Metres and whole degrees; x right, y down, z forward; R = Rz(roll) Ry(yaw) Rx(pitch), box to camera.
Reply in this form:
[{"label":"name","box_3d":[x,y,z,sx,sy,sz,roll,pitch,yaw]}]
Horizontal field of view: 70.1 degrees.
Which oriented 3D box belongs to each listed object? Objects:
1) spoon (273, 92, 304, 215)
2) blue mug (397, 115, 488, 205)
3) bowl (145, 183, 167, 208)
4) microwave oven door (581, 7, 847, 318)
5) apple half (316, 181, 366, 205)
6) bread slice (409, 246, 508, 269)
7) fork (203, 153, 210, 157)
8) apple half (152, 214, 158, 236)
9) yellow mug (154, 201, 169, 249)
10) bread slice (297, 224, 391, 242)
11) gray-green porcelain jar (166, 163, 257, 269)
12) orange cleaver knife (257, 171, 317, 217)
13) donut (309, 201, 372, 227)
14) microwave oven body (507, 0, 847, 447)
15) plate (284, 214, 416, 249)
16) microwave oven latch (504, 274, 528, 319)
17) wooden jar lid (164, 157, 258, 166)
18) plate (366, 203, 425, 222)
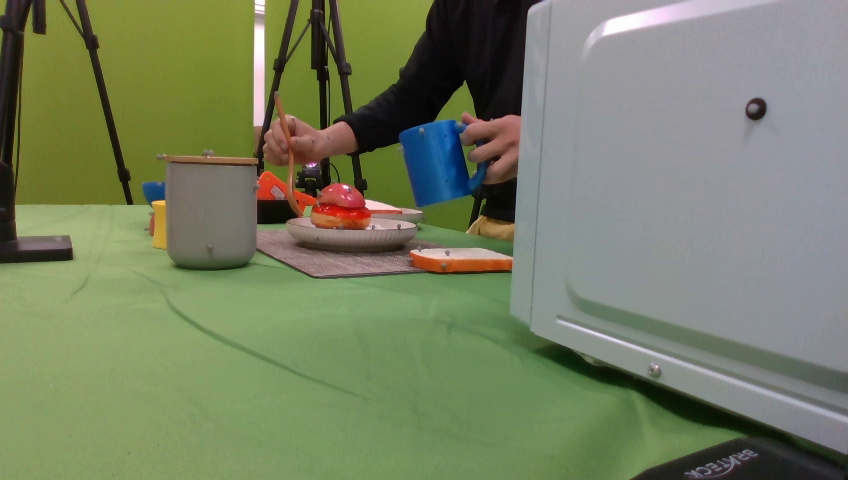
[{"label":"spoon","box_3d":[-0.211,-0.134,0.942,0.022,0.193,0.041,-8,2,-5]},{"label":"blue mug","box_3d":[0.031,-0.112,0.825,0.116,0.106,0.082,-13,4,22]},{"label":"bowl","box_3d":[-0.459,-0.069,1.175,0.151,0.077,0.151,3,7,0]},{"label":"microwave oven door","box_3d":[0.295,-0.067,0.569,0.358,0.243,0.039,-3,8,-31]},{"label":"apple half","box_3d":[-0.128,-0.077,0.954,0.081,0.033,0.081,6,14,-1]},{"label":"bread slice","box_3d":[0.048,0.021,0.816,0.132,0.019,0.104,-1,7,-24]},{"label":"fork","box_3d":[-0.480,-0.135,1.411,0.028,0.018,0.207,1,-34,-1]},{"label":"apple half","box_3d":[-0.415,-0.034,1.017,0.081,0.053,0.074,1,10,-8]},{"label":"yellow mug","box_3d":[-0.337,-0.023,0.899,0.130,0.064,0.100,7,10,34]},{"label":"bread slice","box_3d":[-0.121,-0.013,0.970,0.106,0.018,0.135,9,9,41]},{"label":"gray-green porcelain jar","box_3d":[-0.263,-0.031,0.754,0.106,0.126,0.106,2,7,0]},{"label":"orange cleaver knife","box_3d":[-0.283,-0.087,1.343,0.212,0.077,0.012,24,-16,-41]},{"label":"donut","box_3d":[-0.132,-0.042,0.959,0.099,0.048,0.099,1,7,0]},{"label":"microwave oven body","box_3d":[0.331,-0.042,0.425,0.444,0.260,0.324,-2,8,-31]},{"label":"plate","box_3d":[-0.116,-0.014,0.967,0.208,0.039,0.207,2,8,0]},{"label":"microwave oven latch","box_3d":[0.100,0.041,0.470,0.079,0.029,0.030,-1,7,-27]},{"label":"wooden jar lid","box_3d":[-0.261,-0.093,0.746,0.108,0.020,0.108,0,9,0]},{"label":"plate","box_3d":[-0.102,-0.053,1.299,0.209,0.038,0.209,2,8,0]}]
